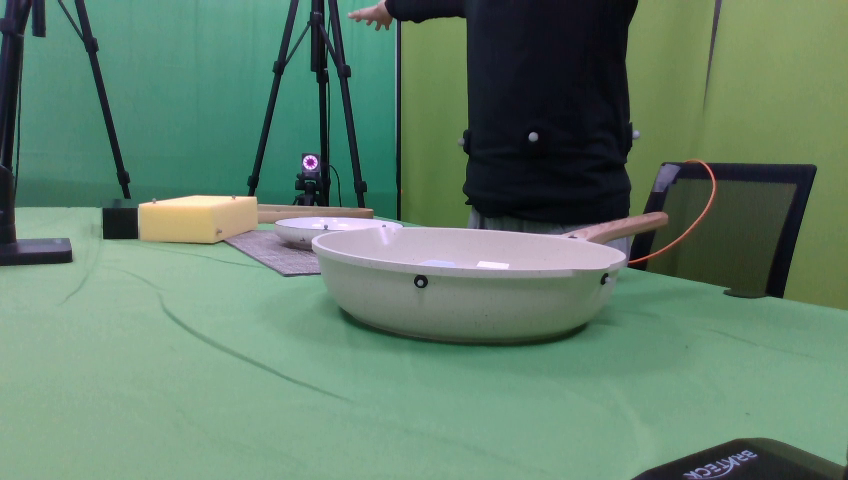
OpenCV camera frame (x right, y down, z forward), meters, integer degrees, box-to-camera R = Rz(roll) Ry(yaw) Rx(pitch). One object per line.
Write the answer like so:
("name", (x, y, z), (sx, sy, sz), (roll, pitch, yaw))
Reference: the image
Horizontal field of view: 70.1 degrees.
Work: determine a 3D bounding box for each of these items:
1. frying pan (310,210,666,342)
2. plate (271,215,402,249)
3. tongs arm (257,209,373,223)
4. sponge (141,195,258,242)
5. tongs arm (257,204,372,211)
("frying pan", (0.120, 0.011, 0.643), (0.490, 0.102, 0.305), (-13, 16, -36))
("plate", (-0.141, -0.012, 0.978), (0.208, 0.039, 0.207), (3, 7, 0))
("tongs arm", (-0.274, -0.053, 1.346), (0.390, 0.028, 0.028), (-2, 7, -37))
("sponge", (-0.380, -0.040, 1.047), (0.118, 0.061, 0.207), (1, 8, 3))
("tongs arm", (-0.312, -0.068, 1.417), (0.387, 0.026, 0.050), (1, 8, -24))
